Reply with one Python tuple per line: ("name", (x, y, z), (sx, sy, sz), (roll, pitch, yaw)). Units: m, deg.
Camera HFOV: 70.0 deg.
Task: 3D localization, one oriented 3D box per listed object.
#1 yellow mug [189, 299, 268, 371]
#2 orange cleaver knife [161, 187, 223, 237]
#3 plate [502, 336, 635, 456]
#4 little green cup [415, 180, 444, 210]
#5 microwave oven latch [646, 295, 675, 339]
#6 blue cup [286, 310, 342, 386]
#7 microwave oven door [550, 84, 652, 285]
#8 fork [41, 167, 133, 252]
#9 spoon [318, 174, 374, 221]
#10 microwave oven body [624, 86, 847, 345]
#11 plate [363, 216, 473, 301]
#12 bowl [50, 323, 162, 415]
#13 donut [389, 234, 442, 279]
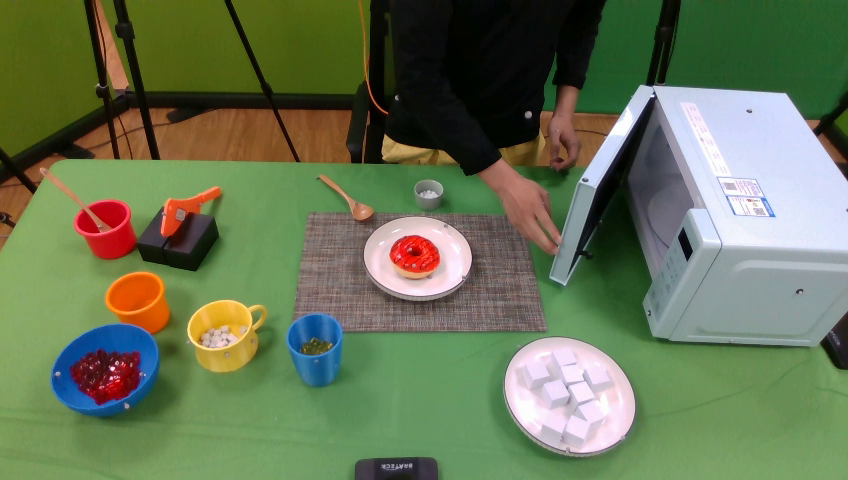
("yellow mug", (-0.316, 0.148, 1.002), (0.131, 0.064, 0.099), (-32, 56, -31))
("orange cleaver knife", (-0.448, -0.059, 1.181), (0.012, 0.077, 0.211), (13, 17, 6))
("plate", (0.225, 0.248, 0.963), (0.208, 0.039, 0.206), (2, 46, -2))
("little green cup", (0.010, -0.094, 1.278), (0.061, 0.039, 0.061), (2, 48, -2))
("microwave oven latch", (0.412, 0.134, 1.061), (0.030, 0.029, 0.078), (4, 45, 1))
("blue cup", (-0.169, 0.179, 0.958), (0.093, 0.101, 0.092), (1, 44, -1))
("microwave oven door", (0.343, -0.113, 1.153), (0.039, 0.245, 0.355), (24, 49, 18))
("fork", (-0.624, -0.055, 1.121), (0.208, 0.018, 0.028), (50, 51, -15))
("spoon", (-0.168, -0.094, 1.274), (0.041, 0.022, 0.192), (-39, 57, -15))
("microwave oven body", (0.568, -0.053, 1.118), (0.326, 0.261, 0.439), (2, 45, -1))
("plate", (-0.012, 0.038, 1.144), (0.209, 0.038, 0.208), (2, 46, -2))
("bowl", (-0.472, 0.209, 0.924), (0.151, 0.077, 0.150), (2, 45, -2))
("donut", (-0.016, 0.031, 1.135), (0.099, 0.048, 0.098), (4, 44, -4))
